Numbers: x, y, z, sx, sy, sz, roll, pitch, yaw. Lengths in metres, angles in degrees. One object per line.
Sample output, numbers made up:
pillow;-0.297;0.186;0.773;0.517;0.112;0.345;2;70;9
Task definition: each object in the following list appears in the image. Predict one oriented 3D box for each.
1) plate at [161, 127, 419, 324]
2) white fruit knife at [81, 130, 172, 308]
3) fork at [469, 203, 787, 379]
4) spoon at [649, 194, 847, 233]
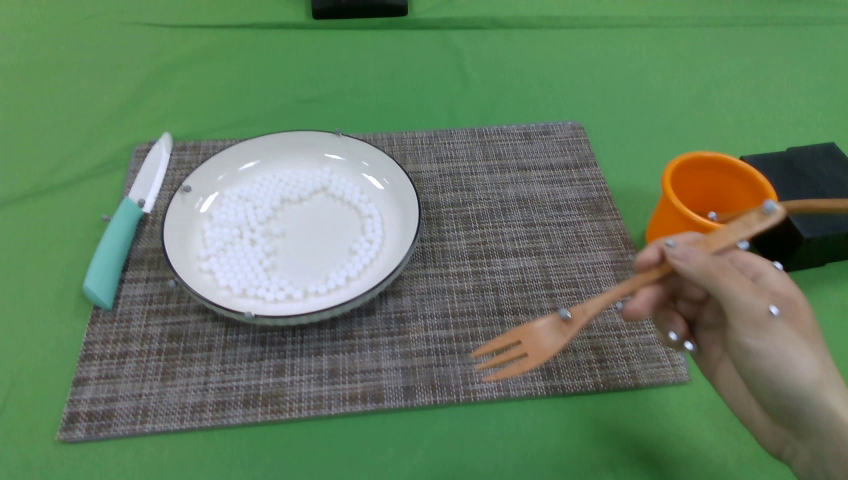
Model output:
plate;-0.107;-0.015;0.511;0.209;0.038;0.207;2;50;-2
white fruit knife;-0.255;-0.030;0.531;0.027;0.016;0.205;22;45;-22
fork;0.122;0.029;0.360;0.207;0.019;0.028;-29;53;4
spoon;0.263;-0.023;0.472;0.041;0.193;0.022;-35;104;-30
